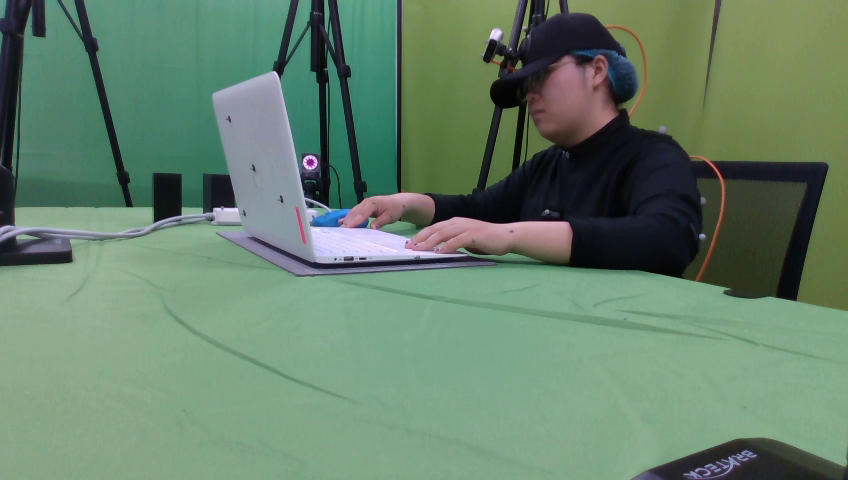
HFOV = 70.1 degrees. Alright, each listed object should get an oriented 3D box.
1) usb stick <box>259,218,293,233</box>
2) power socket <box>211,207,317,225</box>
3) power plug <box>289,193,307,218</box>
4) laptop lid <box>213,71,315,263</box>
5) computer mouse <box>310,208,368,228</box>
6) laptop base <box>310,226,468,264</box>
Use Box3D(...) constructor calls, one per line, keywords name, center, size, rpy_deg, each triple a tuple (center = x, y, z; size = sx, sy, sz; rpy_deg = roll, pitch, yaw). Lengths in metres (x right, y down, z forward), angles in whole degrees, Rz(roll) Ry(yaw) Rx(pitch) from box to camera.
Box3D(name="usb stick", center=(-0.272, -0.026, 1.108), size=(0.059, 0.027, 0.021), rpy_deg=(-3, 13, -27))
Box3D(name="power socket", center=(-0.334, -0.051, 1.282), size=(0.228, 0.032, 0.072), rpy_deg=(-1, 9, -28))
Box3D(name="power plug", center=(-0.281, -0.076, 1.340), size=(0.035, 0.052, 0.072), rpy_deg=(4, 5, -17))
Box3D(name="laptop lid", center=(-0.241, -0.104, 0.865), size=(0.013, 0.241, 0.355), rpy_deg=(-16, 17, -28))
Box3D(name="computer mouse", center=(-0.179, -0.045, 1.274), size=(0.118, 0.041, 0.062), rpy_deg=(-6, 13, -29))
Box3D(name="laptop base", center=(-0.122, 0.006, 0.954), size=(0.237, 0.023, 0.352), rpy_deg=(2, 6, -31))
